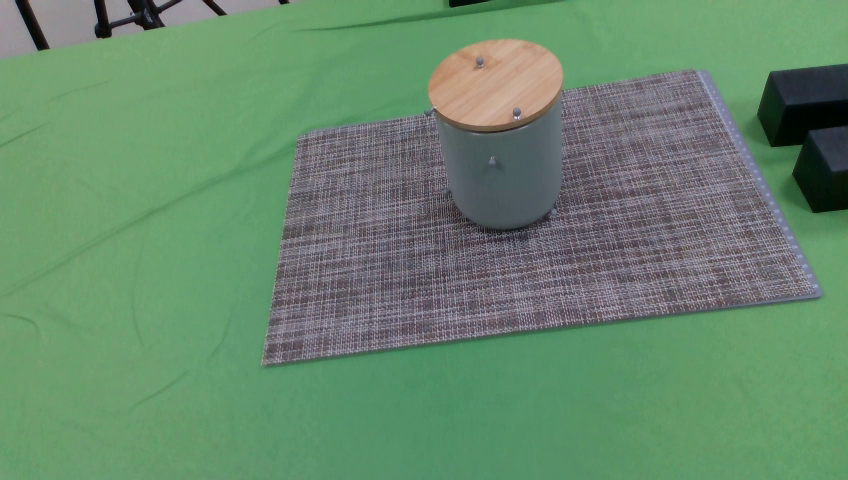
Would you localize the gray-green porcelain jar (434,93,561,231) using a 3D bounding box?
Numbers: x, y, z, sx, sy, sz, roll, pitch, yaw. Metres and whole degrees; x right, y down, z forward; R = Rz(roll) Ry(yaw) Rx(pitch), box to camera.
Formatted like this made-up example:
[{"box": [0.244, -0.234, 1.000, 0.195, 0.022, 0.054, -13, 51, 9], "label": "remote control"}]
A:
[{"box": [0.069, -0.079, 0.540, 0.106, 0.128, 0.105, -6, 49, 8], "label": "gray-green porcelain jar"}]

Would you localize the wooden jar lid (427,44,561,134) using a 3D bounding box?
[{"box": [0.057, -0.120, 0.492, 0.108, 0.021, 0.107, -6, 53, 8], "label": "wooden jar lid"}]
